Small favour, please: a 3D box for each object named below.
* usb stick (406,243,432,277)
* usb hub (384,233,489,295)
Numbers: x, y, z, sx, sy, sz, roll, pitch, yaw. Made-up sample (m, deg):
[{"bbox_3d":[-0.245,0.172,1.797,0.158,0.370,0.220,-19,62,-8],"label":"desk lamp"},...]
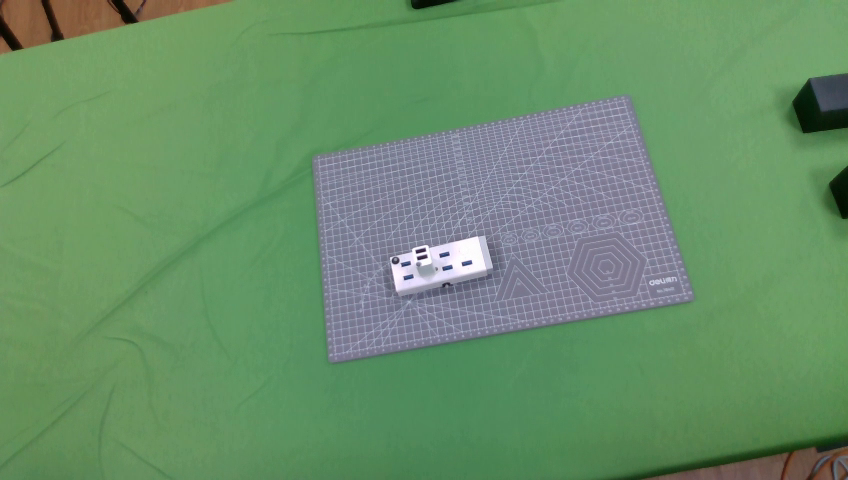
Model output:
[{"bbox_3d":[-0.005,0.027,0.737,0.021,0.059,0.027,-17,65,2],"label":"usb stick"},{"bbox_3d":[0.015,0.029,0.765,0.125,0.025,0.049,-14,67,2],"label":"usb hub"}]
